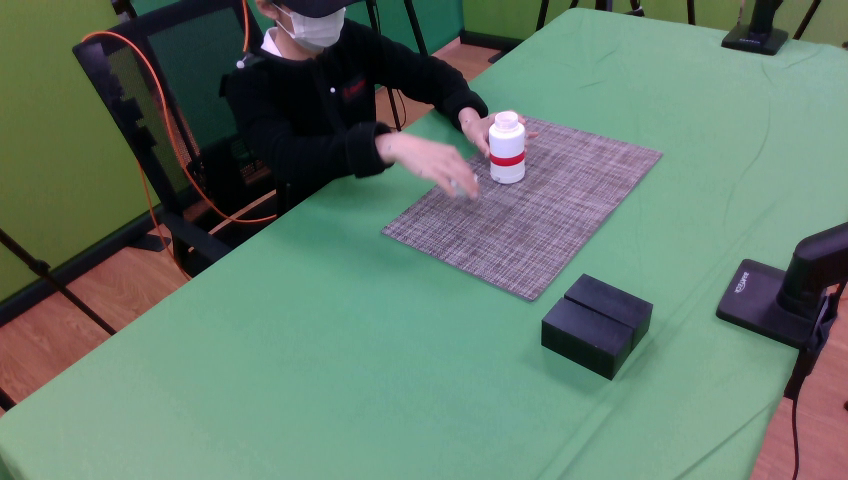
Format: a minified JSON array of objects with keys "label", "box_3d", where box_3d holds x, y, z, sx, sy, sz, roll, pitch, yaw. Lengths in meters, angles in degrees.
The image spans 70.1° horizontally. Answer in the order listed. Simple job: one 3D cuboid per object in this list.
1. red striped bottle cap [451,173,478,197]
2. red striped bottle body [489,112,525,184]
[{"label":"red striped bottle cap","box_3d":[0.065,-0.090,0.979,0.044,0.018,0.044,-4,41,4]},{"label":"red striped bottle body","box_3d":[0.147,-0.164,1.064,0.063,0.120,0.062,-5,39,4]}]
